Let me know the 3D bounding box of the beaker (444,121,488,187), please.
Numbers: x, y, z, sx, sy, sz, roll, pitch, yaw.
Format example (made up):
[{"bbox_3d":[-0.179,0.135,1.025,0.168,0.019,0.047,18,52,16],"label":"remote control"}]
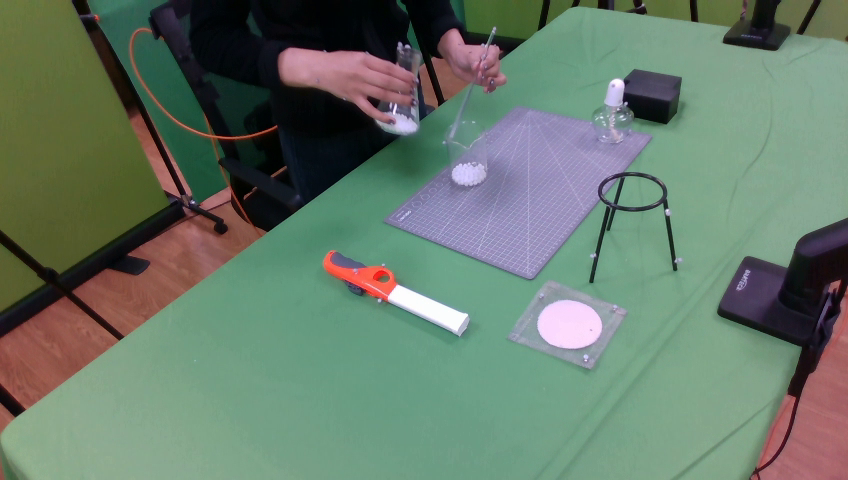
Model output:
[{"bbox_3d":[0.078,-0.150,1.083,0.074,0.101,0.083,-9,40,1],"label":"beaker"}]

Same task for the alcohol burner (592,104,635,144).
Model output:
[{"bbox_3d":[0.353,-0.242,1.126,0.078,0.119,0.077,-5,38,5],"label":"alcohol burner"}]

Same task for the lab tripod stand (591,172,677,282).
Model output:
[{"bbox_3d":[0.292,-0.022,0.867,0.148,0.132,0.147,-7,39,6],"label":"lab tripod stand"}]

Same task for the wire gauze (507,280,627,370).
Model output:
[{"bbox_3d":[0.196,0.114,0.823,0.120,0.011,0.125,20,50,31],"label":"wire gauze"}]

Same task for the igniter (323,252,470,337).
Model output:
[{"bbox_3d":[-0.052,0.075,0.901,0.274,0.025,0.057,22,60,32],"label":"igniter"}]

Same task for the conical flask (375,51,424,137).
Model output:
[{"bbox_3d":[-0.030,-0.228,0.938,0.075,0.122,0.075,11,30,-6],"label":"conical flask"}]

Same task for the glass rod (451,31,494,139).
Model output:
[{"bbox_3d":[0.083,-0.266,1.036,0.008,0.008,0.199,20,89,31],"label":"glass rod"}]

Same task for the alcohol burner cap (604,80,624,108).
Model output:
[{"bbox_3d":[0.350,-0.269,1.102,0.034,0.048,0.033,-2,46,2],"label":"alcohol burner cap"}]
